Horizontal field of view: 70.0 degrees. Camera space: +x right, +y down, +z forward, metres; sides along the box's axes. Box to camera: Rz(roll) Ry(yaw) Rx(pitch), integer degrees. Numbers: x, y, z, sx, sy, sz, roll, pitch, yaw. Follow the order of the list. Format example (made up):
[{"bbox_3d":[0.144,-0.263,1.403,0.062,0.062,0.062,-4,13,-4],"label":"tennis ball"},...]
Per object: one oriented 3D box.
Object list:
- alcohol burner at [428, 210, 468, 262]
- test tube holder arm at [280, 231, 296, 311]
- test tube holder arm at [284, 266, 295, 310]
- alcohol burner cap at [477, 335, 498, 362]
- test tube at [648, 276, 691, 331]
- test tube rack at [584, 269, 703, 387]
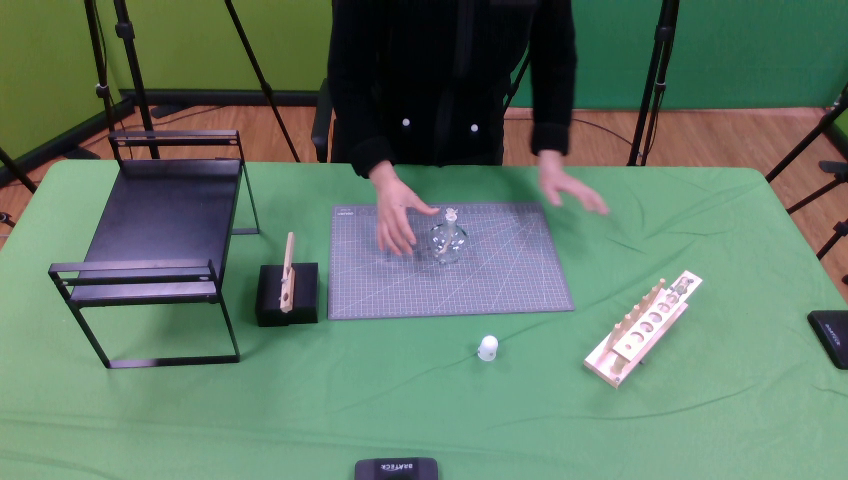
[{"bbox_3d":[0.048,-0.015,1.146,0.078,0.119,0.077,3,48,-3],"label":"alcohol burner"},{"bbox_3d":[-0.238,0.051,1.066,0.013,0.015,0.177,-12,46,5],"label":"test tube holder arm"},{"bbox_3d":[-0.229,0.081,1.034,0.010,0.015,0.087,-12,46,5],"label":"test tube holder arm"},{"bbox_3d":[0.108,0.180,1.017,0.034,0.048,0.033,3,51,-4],"label":"alcohol burner cap"},{"bbox_3d":[0.405,0.109,1.007,0.017,0.151,0.017,3,51,-4],"label":"test tube"},{"bbox_3d":[0.381,0.139,1.046,0.066,0.085,0.242,37,54,28],"label":"test tube rack"}]
